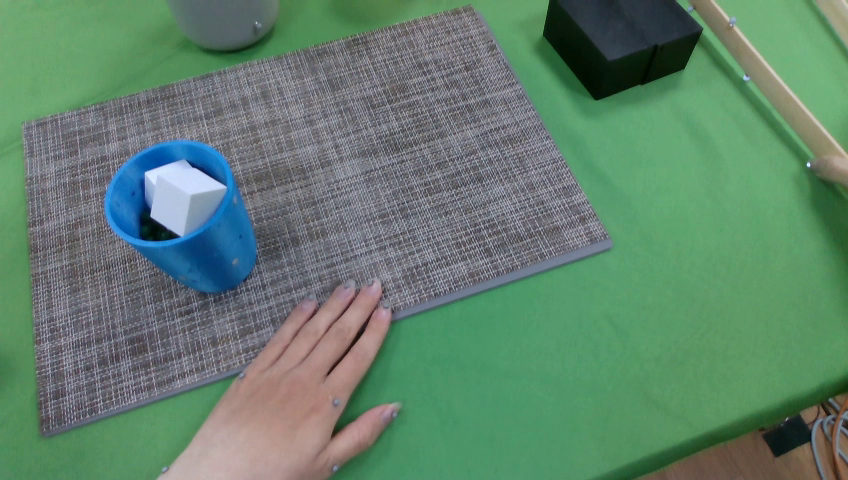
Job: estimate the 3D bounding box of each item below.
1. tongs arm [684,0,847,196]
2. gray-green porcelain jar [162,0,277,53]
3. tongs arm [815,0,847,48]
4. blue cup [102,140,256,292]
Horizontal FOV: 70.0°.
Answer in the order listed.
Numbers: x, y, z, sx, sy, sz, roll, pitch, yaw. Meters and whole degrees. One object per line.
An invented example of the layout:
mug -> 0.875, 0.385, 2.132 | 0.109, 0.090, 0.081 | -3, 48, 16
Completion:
tongs arm -> 0.351, -0.107, 0.540 | 0.051, 0.027, 0.381 | -16, 63, -11
gray-green porcelain jar -> -0.201, -0.253, 0.574 | 0.106, 0.127, 0.105 | 0, 60, 1
tongs arm -> 0.424, -0.125, 0.550 | 0.028, 0.028, 0.384 | -4, 62, -9
blue cup -> -0.168, -0.008, 0.445 | 0.092, 0.101, 0.092 | -1, 61, 2
